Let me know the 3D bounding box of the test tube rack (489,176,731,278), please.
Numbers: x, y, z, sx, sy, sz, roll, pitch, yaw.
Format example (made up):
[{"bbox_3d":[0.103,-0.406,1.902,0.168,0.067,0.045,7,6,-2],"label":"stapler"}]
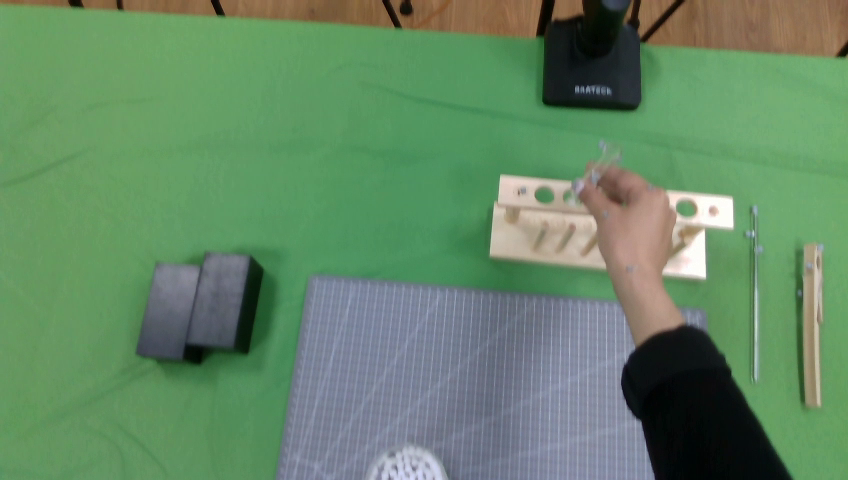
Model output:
[{"bbox_3d":[0.198,-0.013,0.669,0.242,0.086,0.066,6,71,3],"label":"test tube rack"}]

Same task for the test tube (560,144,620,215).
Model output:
[{"bbox_3d":[0.161,-0.055,0.604,0.017,0.151,0.017,1,72,-4],"label":"test tube"}]

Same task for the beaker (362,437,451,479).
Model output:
[{"bbox_3d":[-0.012,0.230,0.582,0.084,0.101,0.073,9,72,4],"label":"beaker"}]

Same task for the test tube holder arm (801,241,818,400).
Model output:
[{"bbox_3d":[0.424,0.086,0.665,0.013,0.015,0.177,20,71,-24],"label":"test tube holder arm"}]

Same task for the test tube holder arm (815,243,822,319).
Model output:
[{"bbox_3d":[0.438,0.046,0.681,0.010,0.015,0.087,20,71,-24],"label":"test tube holder arm"}]

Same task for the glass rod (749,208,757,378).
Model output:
[{"bbox_3d":[0.371,0.056,0.684,0.008,0.008,0.198,9,72,4],"label":"glass rod"}]
